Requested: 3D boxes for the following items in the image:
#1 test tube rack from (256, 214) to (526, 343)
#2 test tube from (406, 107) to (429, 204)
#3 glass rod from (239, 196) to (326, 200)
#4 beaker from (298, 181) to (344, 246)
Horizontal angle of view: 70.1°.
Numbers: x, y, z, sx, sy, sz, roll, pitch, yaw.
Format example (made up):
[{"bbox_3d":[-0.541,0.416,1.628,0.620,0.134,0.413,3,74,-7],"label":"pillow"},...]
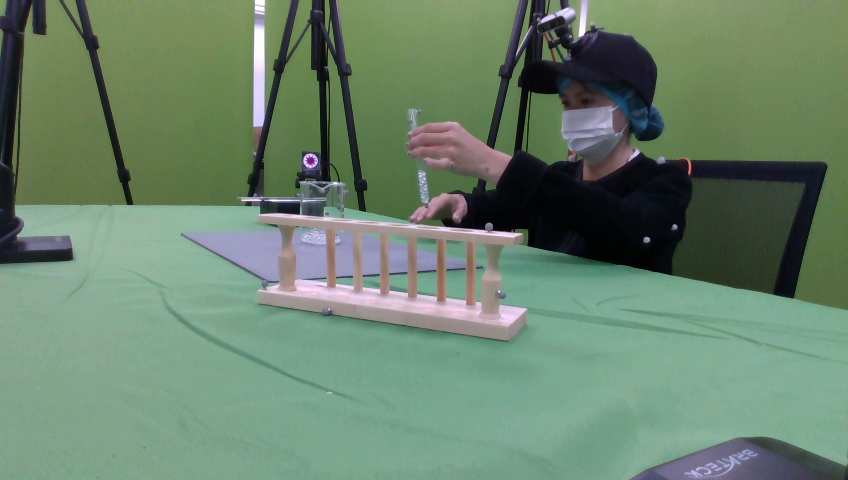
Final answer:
[{"bbox_3d":[-0.032,0.027,0.547,0.241,0.085,0.067,5,7,22],"label":"test tube rack"},{"bbox_3d":[-0.010,-0.131,0.940,0.017,0.150,0.017,-8,2,1],"label":"test tube"},{"bbox_3d":[-0.288,-0.087,1.250,0.201,0.008,0.008,-4,10,-42],"label":"glass rod"},{"bbox_3d":[-0.166,-0.043,0.971,0.074,0.100,0.084,1,8,-10],"label":"beaker"}]
